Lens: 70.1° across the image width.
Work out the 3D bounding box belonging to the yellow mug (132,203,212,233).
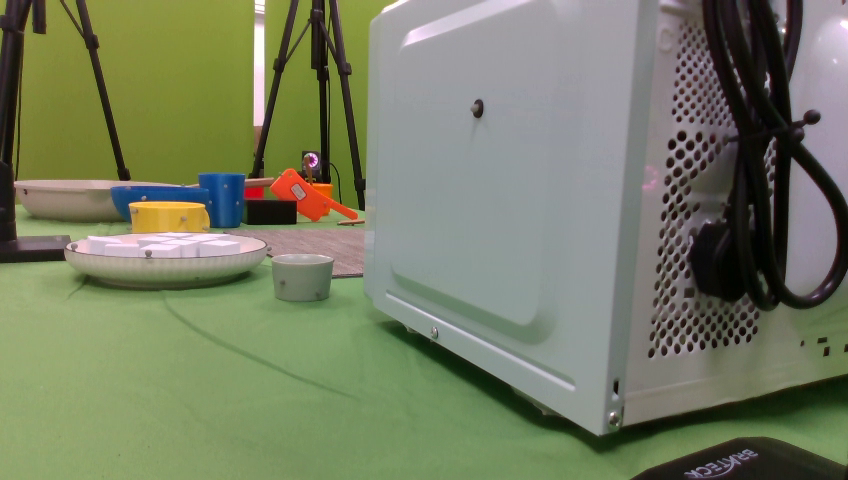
[{"bbox_3d":[-0.356,-0.020,0.878,0.099,0.064,0.131,4,7,22],"label":"yellow mug"}]

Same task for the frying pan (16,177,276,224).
[{"bbox_3d":[-0.553,-0.097,1.265,0.490,0.102,0.305,-10,13,-24],"label":"frying pan"}]

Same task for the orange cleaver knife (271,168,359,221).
[{"bbox_3d":[-0.236,-0.084,1.332,0.212,0.077,0.012,31,-10,-31],"label":"orange cleaver knife"}]

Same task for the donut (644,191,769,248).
[{"bbox_3d":[0.240,-0.017,0.518,0.099,0.048,0.099,2,3,0],"label":"donut"}]

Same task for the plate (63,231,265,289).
[{"bbox_3d":[-0.288,0.021,0.687,0.208,0.039,0.207,2,8,0],"label":"plate"}]

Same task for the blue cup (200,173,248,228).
[{"bbox_3d":[-0.381,-0.076,1.155,0.093,0.100,0.092,0,9,0],"label":"blue cup"}]

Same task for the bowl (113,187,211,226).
[{"bbox_3d":[-0.436,-0.046,1.013,0.151,0.077,0.151,2,7,0],"label":"bowl"}]

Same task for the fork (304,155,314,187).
[{"bbox_3d":[-0.268,-0.134,1.446,0.028,0.018,0.207,2,-36,-1],"label":"fork"}]

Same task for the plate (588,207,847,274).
[{"bbox_3d":[0.245,-0.002,0.510,0.209,0.038,0.209,2,7,0],"label":"plate"}]

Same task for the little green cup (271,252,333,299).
[{"bbox_3d":[-0.122,0.035,0.605,0.061,0.038,0.061,3,7,0],"label":"little green cup"}]

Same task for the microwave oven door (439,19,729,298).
[{"bbox_3d":[0.181,-0.076,0.617,0.358,0.243,0.039,-2,8,-29],"label":"microwave oven door"}]

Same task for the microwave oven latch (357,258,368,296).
[{"bbox_3d":[-0.019,0.031,0.528,0.079,0.029,0.030,-1,7,-24],"label":"microwave oven latch"}]

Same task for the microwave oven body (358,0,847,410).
[{"bbox_3d":[0.210,-0.051,0.471,0.444,0.260,0.324,-1,7,-28],"label":"microwave oven body"}]

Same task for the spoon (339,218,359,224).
[{"bbox_3d":[-0.087,-0.041,1.268,0.193,0.021,0.041,4,20,13],"label":"spoon"}]
